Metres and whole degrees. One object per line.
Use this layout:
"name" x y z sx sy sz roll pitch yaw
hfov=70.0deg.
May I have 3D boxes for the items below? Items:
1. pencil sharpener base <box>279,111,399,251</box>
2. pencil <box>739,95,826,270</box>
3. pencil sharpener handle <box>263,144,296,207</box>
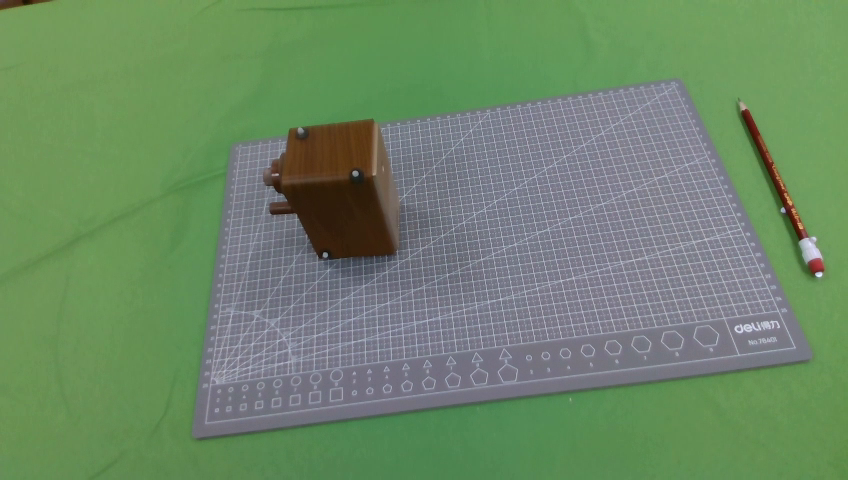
"pencil sharpener base" -0.066 -0.043 0.489 0.076 0.108 0.061 -5 56 5
"pencil" 0.298 -0.057 0.513 0.012 0.012 0.192 -5 55 5
"pencil sharpener handle" -0.118 -0.047 0.484 0.030 0.068 0.035 -5 60 5
